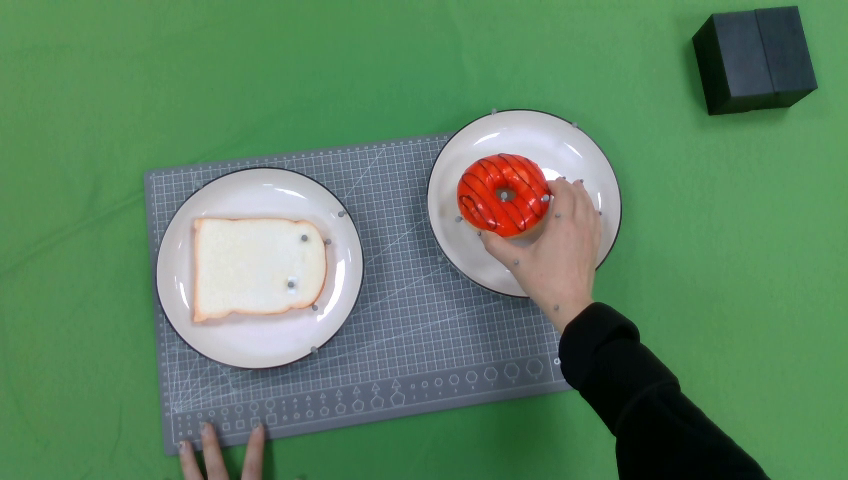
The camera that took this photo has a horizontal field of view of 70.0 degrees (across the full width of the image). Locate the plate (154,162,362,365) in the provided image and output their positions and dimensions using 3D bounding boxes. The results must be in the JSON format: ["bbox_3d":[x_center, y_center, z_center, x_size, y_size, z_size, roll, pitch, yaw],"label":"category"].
[{"bbox_3d":[-0.167,0.024,0.626,0.209,0.038,0.208,1,79,-3],"label":"plate"}]

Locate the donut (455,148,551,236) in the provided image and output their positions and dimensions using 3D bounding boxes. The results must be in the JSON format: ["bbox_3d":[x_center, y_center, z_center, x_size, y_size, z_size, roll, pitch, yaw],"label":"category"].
[{"bbox_3d":[0.081,-0.050,0.621,0.099,0.048,0.098,-2,67,5],"label":"donut"}]

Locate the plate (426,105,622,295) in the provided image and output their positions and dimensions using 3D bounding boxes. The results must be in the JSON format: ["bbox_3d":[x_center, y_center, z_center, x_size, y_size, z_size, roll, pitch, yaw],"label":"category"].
[{"bbox_3d":[0.106,-0.042,0.653,0.208,0.039,0.206,1,79,-3],"label":"plate"}]

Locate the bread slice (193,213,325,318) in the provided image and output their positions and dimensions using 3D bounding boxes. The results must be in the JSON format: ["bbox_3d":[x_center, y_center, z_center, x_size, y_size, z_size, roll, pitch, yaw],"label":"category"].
[{"bbox_3d":[-0.172,0.021,0.628,0.134,0.018,0.106,-6,80,-5],"label":"bread slice"}]
